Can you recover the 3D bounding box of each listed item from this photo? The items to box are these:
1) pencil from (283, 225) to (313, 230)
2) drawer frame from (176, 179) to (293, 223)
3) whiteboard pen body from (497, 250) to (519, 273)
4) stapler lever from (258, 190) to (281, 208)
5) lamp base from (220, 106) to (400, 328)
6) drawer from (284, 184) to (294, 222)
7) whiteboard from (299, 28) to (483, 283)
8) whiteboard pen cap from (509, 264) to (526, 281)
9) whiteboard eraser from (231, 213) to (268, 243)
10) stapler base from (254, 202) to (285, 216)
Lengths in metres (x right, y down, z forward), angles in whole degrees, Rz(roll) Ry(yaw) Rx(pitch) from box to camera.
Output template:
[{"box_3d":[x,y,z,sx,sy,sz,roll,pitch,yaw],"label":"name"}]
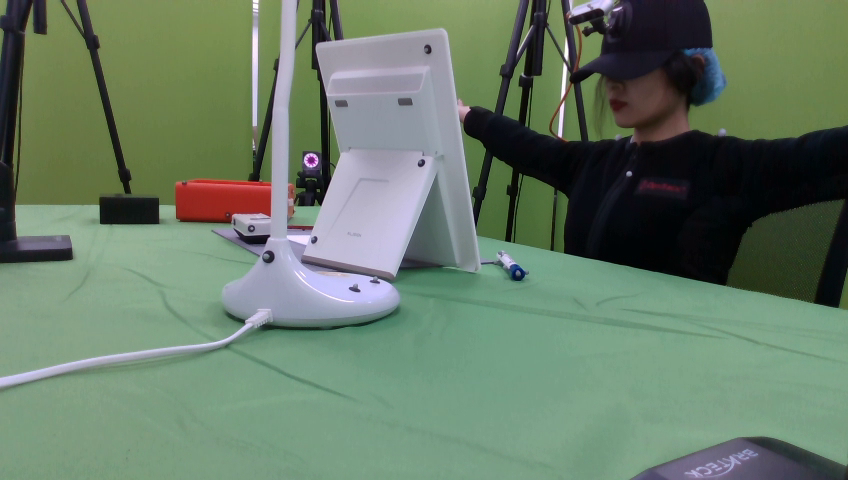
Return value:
[{"box_3d":[-0.216,-0.023,1.134,0.195,0.012,0.012,1,7,-21],"label":"pencil"},{"box_3d":[-0.395,-0.085,1.299,0.214,0.082,0.201,1,8,-9],"label":"drawer frame"},{"box_3d":[0.116,0.032,0.810,0.017,0.017,0.140,2,8,-2],"label":"whiteboard pen body"},{"box_3d":[-0.332,-0.092,1.305,0.027,0.040,0.118,6,9,-2],"label":"stapler lever"},{"box_3d":[-0.101,-0.023,0.531,0.160,0.180,0.179,4,10,10],"label":"lamp base"},{"box_3d":[-0.390,-0.084,1.301,0.212,0.073,0.194,1,8,-8],"label":"drawer"},{"box_3d":[-0.075,-0.082,0.741,0.216,0.305,0.144,9,30,39],"label":"whiteboard"},{"box_3d":[0.116,0.039,0.752,0.018,0.018,0.033,2,10,-1],"label":"whiteboard pen cap"},{"box_3d":[-0.270,-0.020,0.967,0.056,0.042,0.112,0,8,-28],"label":"whiteboard eraser"},{"box_3d":[-0.333,-0.069,1.307,0.041,0.024,0.130,6,6,-2],"label":"stapler base"}]
